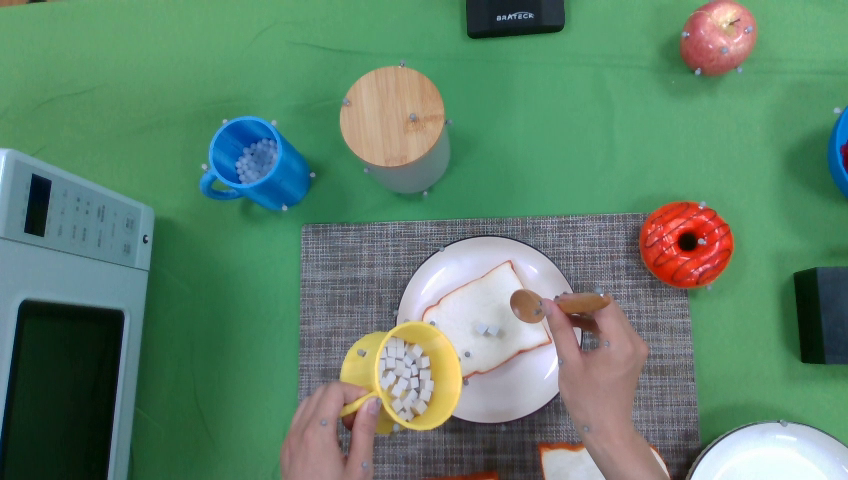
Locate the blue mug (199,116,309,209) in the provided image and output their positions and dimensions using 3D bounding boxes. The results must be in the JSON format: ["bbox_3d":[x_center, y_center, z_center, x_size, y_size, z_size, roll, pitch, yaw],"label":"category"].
[{"bbox_3d":[-0.203,-0.080,0.707,0.116,0.106,0.082,-27,79,1],"label":"blue mug"}]

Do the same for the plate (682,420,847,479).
[{"bbox_3d":[0.365,0.291,0.626,0.209,0.038,0.208,-1,81,6],"label":"plate"}]

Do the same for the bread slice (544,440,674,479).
[{"bbox_3d":[0.197,0.264,0.620,0.135,0.018,0.106,-6,77,-15],"label":"bread slice"}]

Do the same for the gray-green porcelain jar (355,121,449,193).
[{"bbox_3d":[-0.026,-0.114,0.685,0.106,0.127,0.105,-1,80,6],"label":"gray-green porcelain jar"}]

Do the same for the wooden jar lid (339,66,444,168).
[{"bbox_3d":[-0.033,-0.125,0.624,0.108,0.021,0.108,-1,79,6],"label":"wooden jar lid"}]

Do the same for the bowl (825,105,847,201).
[{"bbox_3d":[0.499,-0.087,0.651,0.151,0.077,0.151,-1,81,6],"label":"bowl"}]

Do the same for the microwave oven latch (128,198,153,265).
[{"bbox_3d":[-0.347,-0.010,0.727,0.030,0.029,0.079,4,82,6],"label":"microwave oven latch"}]

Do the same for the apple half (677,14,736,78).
[{"bbox_3d":[0.312,-0.212,0.691,0.033,0.081,0.081,-34,79,-5],"label":"apple half"}]

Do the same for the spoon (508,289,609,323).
[{"bbox_3d":[0.121,0.062,0.571,0.021,0.193,0.041,-28,90,-12],"label":"spoon"}]

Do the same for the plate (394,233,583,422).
[{"bbox_3d":[0.072,0.096,0.682,0.207,0.039,0.207,-1,81,6],"label":"plate"}]

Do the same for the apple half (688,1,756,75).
[{"bbox_3d":[0.343,-0.234,0.693,0.053,0.075,0.080,-33,75,-6],"label":"apple half"}]

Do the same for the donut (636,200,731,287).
[{"bbox_3d":[0.286,0.004,0.672,0.099,0.048,0.098,-1,82,6],"label":"donut"}]

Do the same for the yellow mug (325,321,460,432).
[{"bbox_3d":[-0.035,0.136,0.571,0.131,0.064,0.100,-20,87,-40],"label":"yellow mug"}]

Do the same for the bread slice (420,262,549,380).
[{"bbox_3d":[0.062,0.099,0.685,0.131,0.019,0.104,-27,78,-1],"label":"bread slice"}]

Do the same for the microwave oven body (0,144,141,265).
[{"bbox_3d":[-0.512,0.144,0.621,0.326,0.261,0.440,2,82,6],"label":"microwave oven body"}]

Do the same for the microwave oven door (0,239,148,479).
[{"bbox_3d":[-0.370,0.189,0.594,0.039,0.245,0.354,1,81,6],"label":"microwave oven door"}]
